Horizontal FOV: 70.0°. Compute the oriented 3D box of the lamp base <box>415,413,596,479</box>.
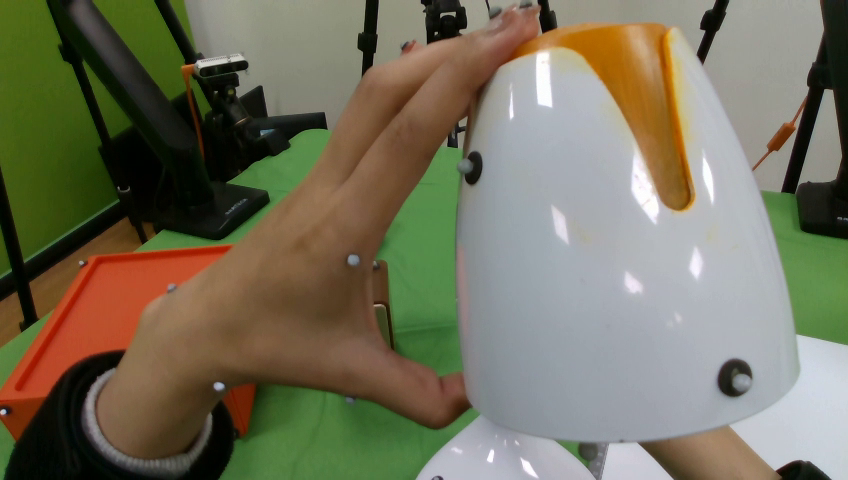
[{"bbox_3d":[0.056,0.142,0.425,0.161,0.182,0.177,-6,30,-2],"label":"lamp base"}]

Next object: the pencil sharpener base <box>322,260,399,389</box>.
[{"bbox_3d":[-0.060,0.082,0.592,0.061,0.108,0.076,-5,34,-1],"label":"pencil sharpener base"}]

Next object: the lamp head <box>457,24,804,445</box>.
[{"bbox_3d":[0.059,-0.009,0.211,0.112,0.123,0.112,-12,3,1],"label":"lamp head"}]

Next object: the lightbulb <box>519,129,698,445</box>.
[{"bbox_3d":[0.062,0.017,0.207,0.059,0.108,0.059,-1,8,1],"label":"lightbulb"}]

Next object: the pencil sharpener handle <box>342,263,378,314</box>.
[{"bbox_3d":[-0.065,0.044,0.627,0.036,0.068,0.030,0,34,-5],"label":"pencil sharpener handle"}]

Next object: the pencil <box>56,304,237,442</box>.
[{"bbox_3d":[-0.260,0.122,0.582,0.194,0.012,0.012,-40,47,-26],"label":"pencil"}]

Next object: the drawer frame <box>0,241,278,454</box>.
[{"bbox_3d":[-0.265,0.098,0.607,0.202,0.083,0.211,-6,33,-2],"label":"drawer frame"}]

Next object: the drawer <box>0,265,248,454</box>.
[{"bbox_3d":[-0.263,0.101,0.606,0.194,0.074,0.209,-5,33,-1],"label":"drawer"}]
